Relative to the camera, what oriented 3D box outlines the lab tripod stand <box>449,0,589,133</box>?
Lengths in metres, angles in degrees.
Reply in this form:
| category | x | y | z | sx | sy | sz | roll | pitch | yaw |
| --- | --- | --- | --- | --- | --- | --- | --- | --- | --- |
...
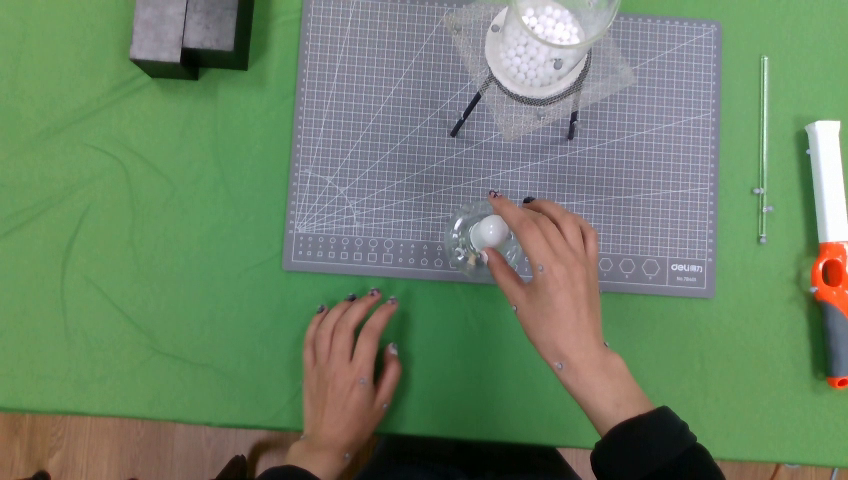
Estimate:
| category | x | y | z | sx | sy | sz | roll | pitch | yaw |
| --- | --- | --- | --- | --- | --- | --- | --- | --- | --- |
| lab tripod stand | 0.092 | -0.155 | 0.578 | 0.148 | 0.131 | 0.148 | 0 | 87 | -1 |

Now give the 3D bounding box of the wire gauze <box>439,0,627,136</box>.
| category | x | y | z | sx | sy | sz | roll | pitch | yaw |
| --- | --- | --- | --- | --- | --- | --- | --- | --- | --- |
| wire gauze | 0.094 | -0.164 | 0.513 | 0.125 | 0.011 | 0.121 | -26 | 90 | -4 |

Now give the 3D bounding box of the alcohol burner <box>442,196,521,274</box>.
| category | x | y | z | sx | sy | sz | roll | pitch | yaw |
| --- | --- | --- | --- | --- | --- | --- | --- | --- | --- |
| alcohol burner | 0.057 | -0.007 | 0.576 | 0.078 | 0.119 | 0.077 | 0 | 84 | -3 |

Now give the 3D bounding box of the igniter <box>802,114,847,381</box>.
| category | x | y | z | sx | sy | sz | roll | pitch | yaw |
| --- | --- | --- | --- | --- | --- | --- | --- | --- | --- |
| igniter | 0.424 | 0.006 | 0.631 | 0.057 | 0.025 | 0.276 | -2 | 86 | -12 |

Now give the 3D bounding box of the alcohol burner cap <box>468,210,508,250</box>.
| category | x | y | z | sx | sy | sz | roll | pitch | yaw |
| --- | --- | --- | --- | --- | --- | --- | --- | --- | --- |
| alcohol burner cap | 0.059 | -0.011 | 0.540 | 0.034 | 0.048 | 0.033 | 1 | 78 | -6 |

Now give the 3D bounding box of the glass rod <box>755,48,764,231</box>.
| category | x | y | z | sx | sy | sz | roll | pitch | yaw |
| --- | --- | --- | --- | --- | --- | --- | --- | --- | --- |
| glass rod | 0.360 | -0.108 | 0.648 | 0.008 | 0.008 | 0.199 | 3 | 86 | -2 |

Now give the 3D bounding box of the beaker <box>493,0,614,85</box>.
| category | x | y | z | sx | sy | sz | roll | pitch | yaw |
| --- | --- | --- | --- | --- | --- | --- | --- | --- | --- |
| beaker | 0.095 | -0.167 | 0.465 | 0.084 | 0.100 | 0.074 | -17 | 87 | -3 |
